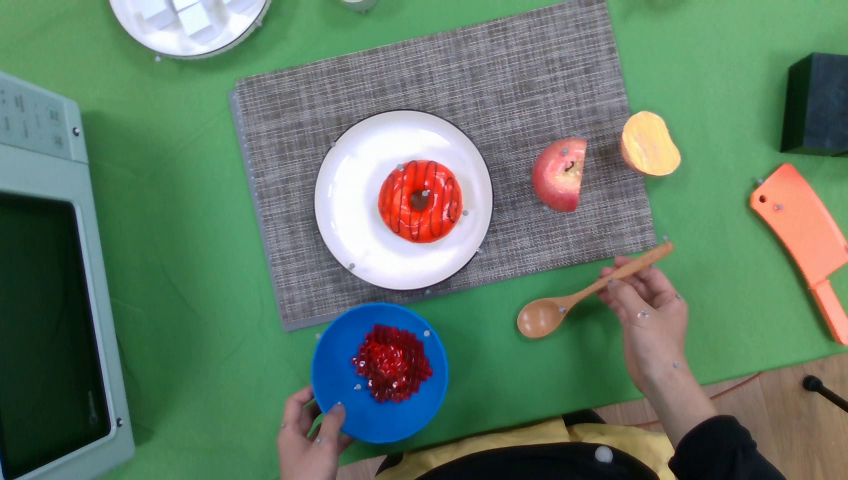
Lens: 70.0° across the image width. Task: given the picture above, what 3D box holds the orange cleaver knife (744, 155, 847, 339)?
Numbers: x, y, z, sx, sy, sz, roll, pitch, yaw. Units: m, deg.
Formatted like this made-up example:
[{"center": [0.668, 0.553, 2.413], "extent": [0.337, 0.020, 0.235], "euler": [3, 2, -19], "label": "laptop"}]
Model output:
[{"center": [0.436, 0.007, 0.679], "extent": [0.077, 0.012, 0.211], "euler": [-28, 87, -1], "label": "orange cleaver knife"}]

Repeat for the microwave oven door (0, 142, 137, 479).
[{"center": [-0.401, 0.079, 0.611], "extent": [0.039, 0.244, 0.355], "euler": [-11, 89, 5], "label": "microwave oven door"}]

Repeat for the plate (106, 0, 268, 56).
[{"center": [-0.277, -0.320, 0.724], "extent": [0.207, 0.039, 0.207], "euler": [0, 90, 4], "label": "plate"}]

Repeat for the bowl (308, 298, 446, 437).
[{"center": [-0.047, 0.137, 0.686], "extent": [0.151, 0.077, 0.151], "euler": [0, 90, 5], "label": "bowl"}]

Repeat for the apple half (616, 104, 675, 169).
[{"center": [0.240, -0.110, 0.681], "extent": [0.082, 0.033, 0.081], "euler": [9, 70, -23], "label": "apple half"}]

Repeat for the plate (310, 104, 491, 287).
[{"center": [-0.026, -0.051, 0.701], "extent": [0.209, 0.038, 0.209], "euler": [0, 90, 5], "label": "plate"}]

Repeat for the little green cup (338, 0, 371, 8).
[{"center": [-0.084, -0.305, 0.710], "extent": [0.061, 0.038, 0.061], "euler": [0, 89, 5], "label": "little green cup"}]

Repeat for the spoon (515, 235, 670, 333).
[{"center": [0.181, 0.049, 0.664], "extent": [0.194, 0.022, 0.041], "euler": [-35, 78, 30], "label": "spoon"}]

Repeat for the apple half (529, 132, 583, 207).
[{"center": [0.143, -0.079, 0.671], "extent": [0.053, 0.075, 0.081], "euler": [6, 94, 8], "label": "apple half"}]

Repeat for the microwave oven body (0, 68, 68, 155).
[{"center": [-0.551, 0.063, 0.628], "extent": [0.326, 0.260, 0.441], "euler": [-11, 89, 4], "label": "microwave oven body"}]

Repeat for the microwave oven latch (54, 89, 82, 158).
[{"center": [-0.430, -0.136, 0.716], "extent": [0.030, 0.029, 0.079], "euler": [-9, 90, 4], "label": "microwave oven latch"}]

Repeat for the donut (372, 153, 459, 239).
[{"center": [-0.009, -0.050, 0.688], "extent": [0.099, 0.048, 0.099], "euler": [0, 92, 5], "label": "donut"}]
